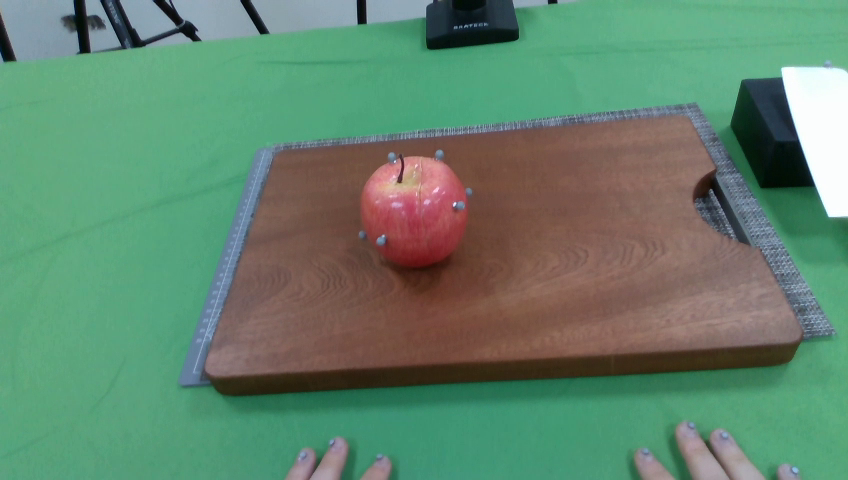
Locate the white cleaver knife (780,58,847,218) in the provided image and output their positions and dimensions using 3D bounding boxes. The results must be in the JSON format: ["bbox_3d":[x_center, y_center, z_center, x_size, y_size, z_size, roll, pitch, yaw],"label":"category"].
[{"bbox_3d":[0.333,-0.039,0.461,0.066,0.022,0.284,-3,56,10],"label":"white cleaver knife"}]

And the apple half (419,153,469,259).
[{"bbox_3d":[0.018,-0.026,0.455,0.033,0.082,0.080,-7,44,8],"label":"apple half"}]

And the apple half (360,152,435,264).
[{"bbox_3d":[-0.020,-0.022,0.459,0.053,0.075,0.080,-7,46,9],"label":"apple half"}]
